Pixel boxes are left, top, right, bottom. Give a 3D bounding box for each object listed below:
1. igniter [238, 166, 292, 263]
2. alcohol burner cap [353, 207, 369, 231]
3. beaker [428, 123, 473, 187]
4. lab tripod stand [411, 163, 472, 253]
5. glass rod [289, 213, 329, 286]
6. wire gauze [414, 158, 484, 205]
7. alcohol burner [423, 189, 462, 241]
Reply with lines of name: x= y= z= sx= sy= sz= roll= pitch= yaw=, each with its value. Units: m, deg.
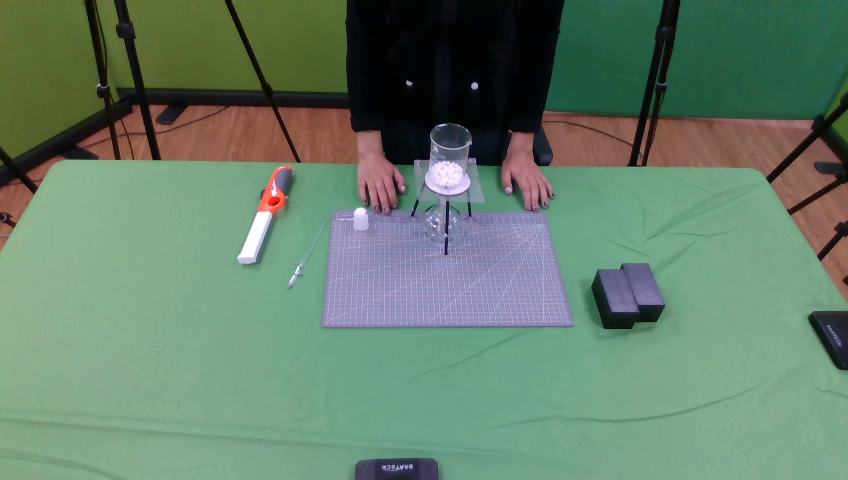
igniter: x=-0.319 y=-0.060 z=1.229 sx=0.057 sy=0.025 sz=0.275 roll=-2 pitch=45 yaw=10
alcohol burner cap: x=-0.127 y=-0.046 z=1.215 sx=0.034 sy=0.048 sz=0.033 roll=3 pitch=48 yaw=-3
beaker: x=0.044 y=-0.154 z=1.110 sx=0.074 sy=0.101 sz=0.083 roll=-25 pitch=54 yaw=-25
lab tripod stand: x=0.042 y=-0.069 z=1.186 sx=0.148 sy=0.132 sz=0.147 roll=3 pitch=47 yaw=-3
glass rod: x=-0.221 y=0.014 z=1.179 sx=0.008 sy=0.008 sz=0.199 roll=12 pitch=46 yaw=8
wire gauze: x=0.045 y=-0.113 z=1.137 sx=0.125 sy=0.011 sz=0.120 roll=2 pitch=48 yaw=-6
alcohol burner: x=0.036 y=-0.055 z=1.187 sx=0.078 sy=0.120 sz=0.077 roll=1 pitch=48 yaw=-1
